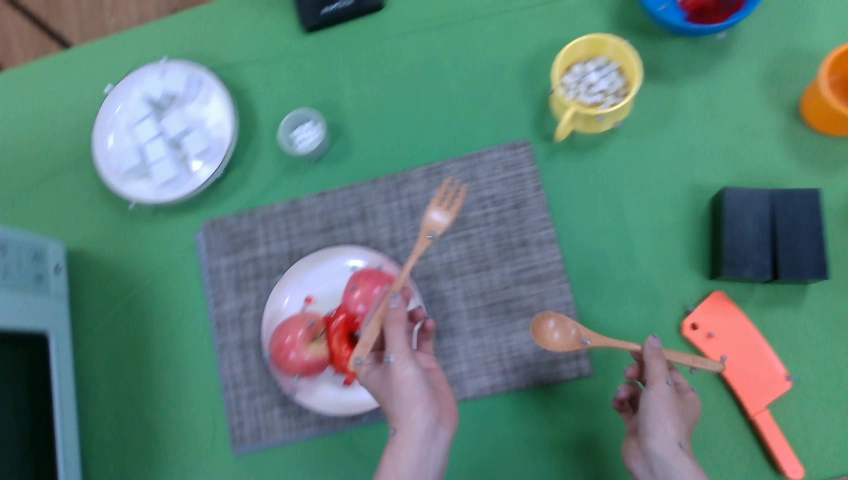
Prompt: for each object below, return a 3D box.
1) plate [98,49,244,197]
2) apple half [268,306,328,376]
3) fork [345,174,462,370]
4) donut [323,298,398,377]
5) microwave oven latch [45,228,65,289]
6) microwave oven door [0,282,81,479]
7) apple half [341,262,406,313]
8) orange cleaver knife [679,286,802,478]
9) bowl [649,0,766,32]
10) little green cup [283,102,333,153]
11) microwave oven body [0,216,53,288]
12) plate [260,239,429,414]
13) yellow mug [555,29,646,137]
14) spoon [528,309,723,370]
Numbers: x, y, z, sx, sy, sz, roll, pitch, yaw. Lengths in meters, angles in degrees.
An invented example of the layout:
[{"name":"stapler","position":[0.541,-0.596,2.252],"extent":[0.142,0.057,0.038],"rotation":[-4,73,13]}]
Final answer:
[{"name":"plate","position":[-0.340,-0.156,0.827],"extent":[0.207,0.039,0.207],"rotation":[-2,80,9]},{"name":"apple half","position":[-0.154,0.120,0.713],"extent":[0.074,0.054,0.080],"rotation":[-22,71,47]},{"name":"fork","position":[-0.018,0.026,0.559],"extent":[0.028,0.019,0.206],"rotation":[29,71,1]},{"name":"donut","position":[-0.079,0.114,0.723],"extent":[0.099,0.048,0.099],"rotation":[-1,84,10]},{"name":"microwave oven latch","position":[-0.495,0.025,0.800],"extent":[0.030,0.029,0.079],"rotation":[-9,80,7]},{"name":"microwave oven door","position":[-0.476,0.218,0.659],"extent":[0.039,0.245,0.354],"rotation":[-12,78,7]},{"name":"apple half","position":[-0.058,0.050,0.715],"extent":[0.081,0.033,0.080],"rotation":[2,41,-1]},{"name":"orange cleaver knife","position":[0.363,0.152,0.669],"extent":[0.077,0.012,0.210],"rotation":[-28,75,-3]},{"name":"bowl","position":[0.333,-0.309,0.725],"extent":[0.151,0.077,0.151],"rotation":[-1,81,9]},{"name":"little green cup","position":[-0.149,-0.145,0.794],"extent":[0.061,0.039,0.061],"rotation":[-2,80,9]},{"name":"microwave oven body","position":[-0.625,0.207,0.690],"extent":[0.326,0.261,0.439],"rotation":[-11,79,6]},{"name":"plate","position":[-0.095,0.103,0.738],"extent":[0.209,0.038,0.208],"rotation":[-2,80,9]},{"name":"yellow mug","position":[0.201,-0.180,0.730],"extent":[0.099,0.064,0.131],"rotation":[34,88,13]},{"name":"spoon","position":[0.202,0.106,0.613],"extent":[0.193,0.022,0.041],"rotation":[11,66,13]}]
